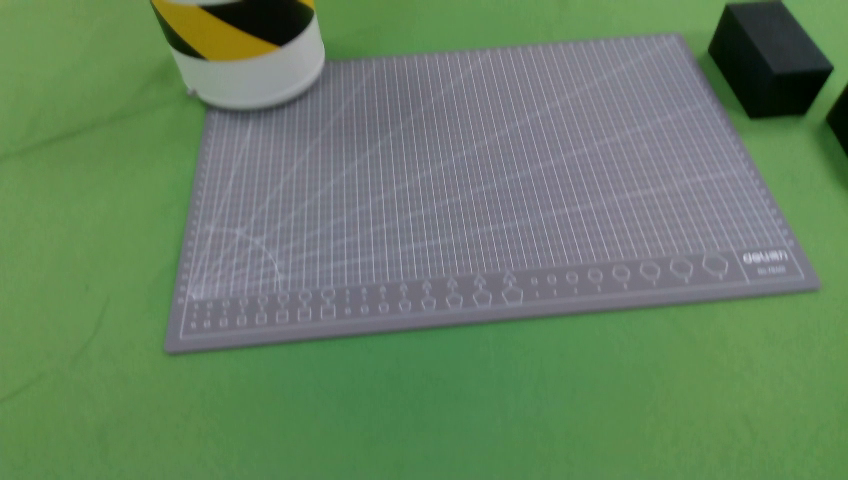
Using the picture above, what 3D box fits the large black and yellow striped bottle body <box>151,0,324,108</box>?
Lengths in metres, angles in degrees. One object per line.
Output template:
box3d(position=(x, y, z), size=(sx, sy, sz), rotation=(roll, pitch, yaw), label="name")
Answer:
box3d(position=(-0.162, -0.219, 0.499), size=(0.131, 0.186, 0.129), rotation=(-2, 52, 2), label="large black and yellow striped bottle body")
